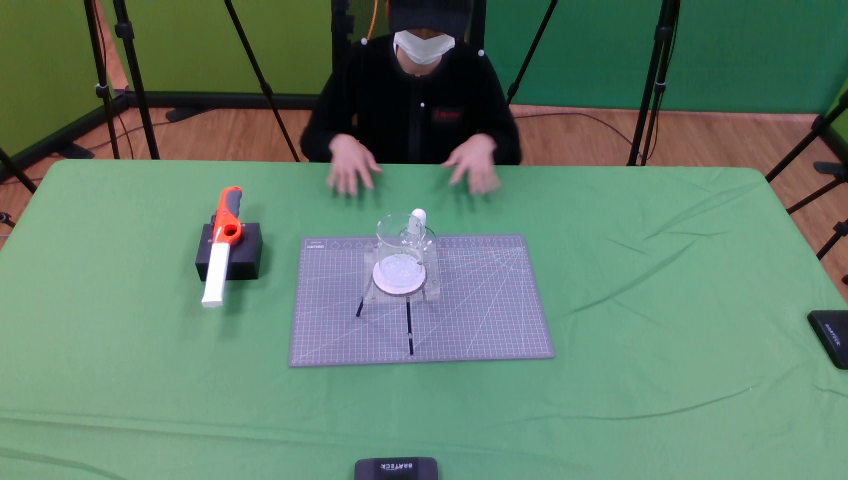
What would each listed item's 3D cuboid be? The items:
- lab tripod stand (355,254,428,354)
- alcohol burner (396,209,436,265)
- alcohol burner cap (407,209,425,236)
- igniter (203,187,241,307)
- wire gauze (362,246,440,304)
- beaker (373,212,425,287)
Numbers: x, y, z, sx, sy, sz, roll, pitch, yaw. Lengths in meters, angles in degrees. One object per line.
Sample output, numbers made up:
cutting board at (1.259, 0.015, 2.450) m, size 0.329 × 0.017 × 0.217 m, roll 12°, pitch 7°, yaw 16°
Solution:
lab tripod stand at (-0.046, 0.100, 1.017) m, size 0.148 × 0.132 × 0.147 m, roll 1°, pitch 47°, yaw -1°
alcohol burner at (-0.015, -0.011, 1.140) m, size 0.078 × 0.120 × 0.077 m, roll 2°, pitch 44°, yaw -1°
alcohol burner cap at (-0.013, -0.036, 1.115) m, size 0.034 × 0.048 × 0.033 m, roll 5°, pitch 42°, yaw -4°
igniter at (-0.365, 0.003, 1.098) m, size 0.057 × 0.025 × 0.274 m, roll -1°, pitch 49°, yaw -7°
wire gauze at (-0.038, 0.052, 0.972) m, size 0.121 × 0.011 × 0.124 m, roll 0°, pitch 44°, yaw -5°
beaker at (-0.036, 0.019, 0.936) m, size 0.074 × 0.101 × 0.083 m, roll -29°, pitch 54°, yaw -26°
